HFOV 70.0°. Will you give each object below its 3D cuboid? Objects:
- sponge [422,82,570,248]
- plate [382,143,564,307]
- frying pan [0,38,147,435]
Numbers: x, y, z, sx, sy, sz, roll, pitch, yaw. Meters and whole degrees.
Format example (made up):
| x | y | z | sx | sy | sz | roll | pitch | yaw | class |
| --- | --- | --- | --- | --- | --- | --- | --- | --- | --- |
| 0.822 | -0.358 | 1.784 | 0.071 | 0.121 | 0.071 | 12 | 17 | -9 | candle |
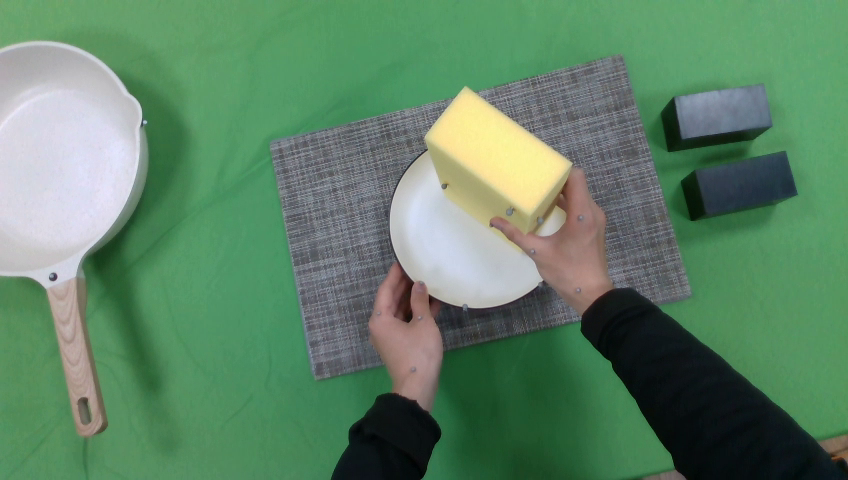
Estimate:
| x | y | z | sx | sy | sz | roll | pitch | yaw | class |
| --- | --- | --- | --- | --- | --- | --- | --- | --- | --- |
| 0.072 | -0.065 | 0.619 | 0.118 | 0.208 | 0.061 | 37 | 86 | 11 | sponge |
| 0.056 | -0.025 | 0.710 | 0.207 | 0.039 | 0.207 | -1 | 83 | 5 | plate |
| -0.443 | -0.006 | 0.724 | 0.307 | 0.103 | 0.484 | -21 | 73 | 4 | frying pan |
